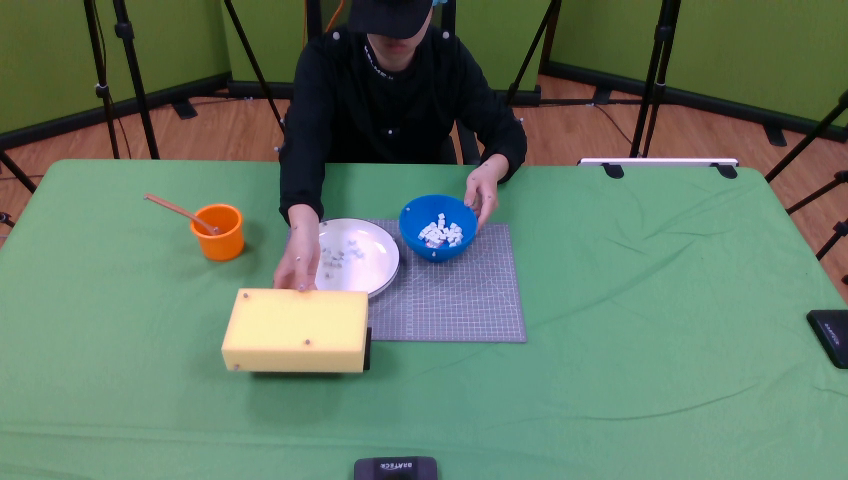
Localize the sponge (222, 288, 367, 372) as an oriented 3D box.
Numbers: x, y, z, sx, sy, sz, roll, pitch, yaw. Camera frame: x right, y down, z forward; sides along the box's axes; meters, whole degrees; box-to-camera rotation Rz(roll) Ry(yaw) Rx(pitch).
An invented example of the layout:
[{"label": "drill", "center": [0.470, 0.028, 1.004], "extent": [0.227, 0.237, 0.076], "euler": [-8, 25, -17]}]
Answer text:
[{"label": "sponge", "center": [-0.196, 0.141, 0.952], "extent": [0.207, 0.061, 0.117], "euler": [1, 46, -3]}]

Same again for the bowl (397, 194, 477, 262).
[{"label": "bowl", "center": [0.023, -0.011, 1.167], "extent": [0.151, 0.077, 0.150], "euler": [2, 46, -2]}]

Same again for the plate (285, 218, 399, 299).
[{"label": "plate", "center": [-0.150, 0.042, 1.130], "extent": [0.209, 0.038, 0.208], "euler": [2, 46, -2]}]

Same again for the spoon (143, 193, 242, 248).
[{"label": "spoon", "center": [-0.421, -0.036, 1.113], "extent": [0.021, 0.195, 0.041], "euler": [-36, 37, 23]}]
